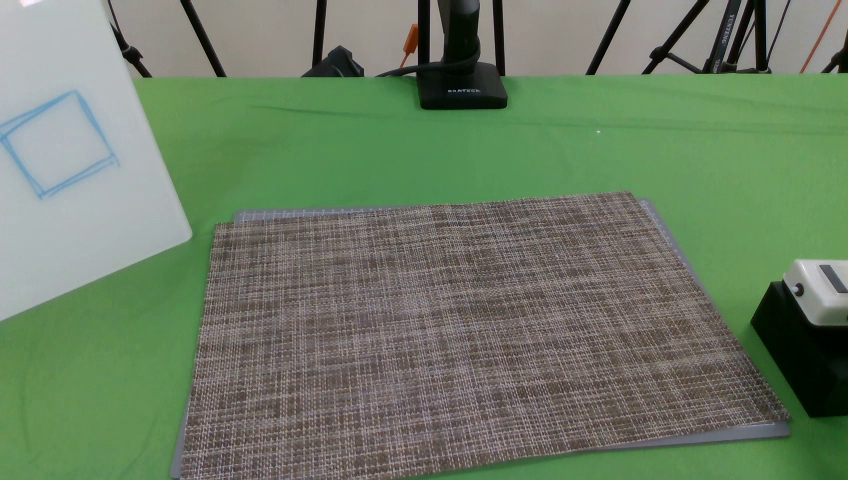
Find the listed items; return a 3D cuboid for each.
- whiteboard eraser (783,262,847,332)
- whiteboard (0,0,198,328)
[{"bbox_3d":[0.344,0.046,0.469,0.113,0.042,0.055,0,39,-1],"label":"whiteboard eraser"},{"bbox_3d":[-0.375,-0.104,0.531,0.217,0.308,0.142,-28,29,-30],"label":"whiteboard"}]
